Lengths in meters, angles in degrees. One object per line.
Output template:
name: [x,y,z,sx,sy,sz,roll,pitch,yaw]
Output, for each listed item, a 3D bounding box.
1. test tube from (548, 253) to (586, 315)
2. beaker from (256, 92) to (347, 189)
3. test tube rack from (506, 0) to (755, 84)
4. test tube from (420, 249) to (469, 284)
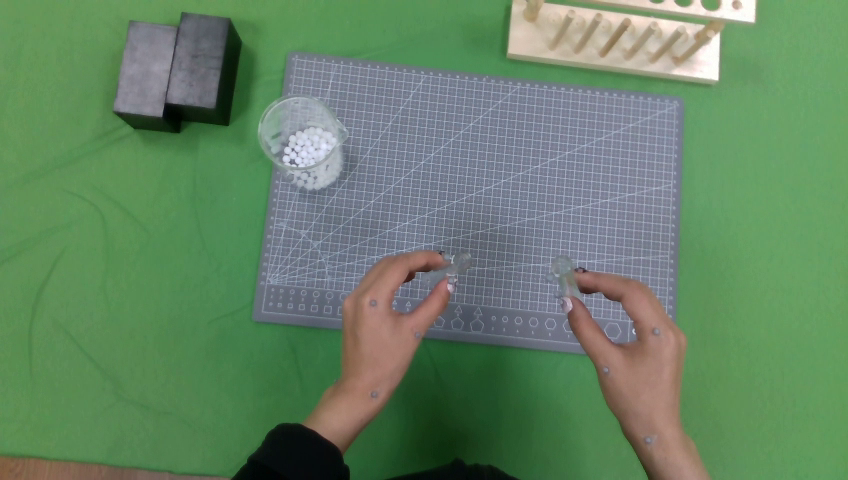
test tube: [0.120,0.040,0.502,0.017,0.152,0.017,-6,69,18]
beaker: [-0.117,-0.095,0.611,0.084,0.100,0.074,-1,82,-4]
test tube rack: [0.219,-0.234,0.661,0.242,0.085,0.066,7,81,-2]
test tube: [0.016,0.027,0.550,0.017,0.150,0.017,2,80,-10]
